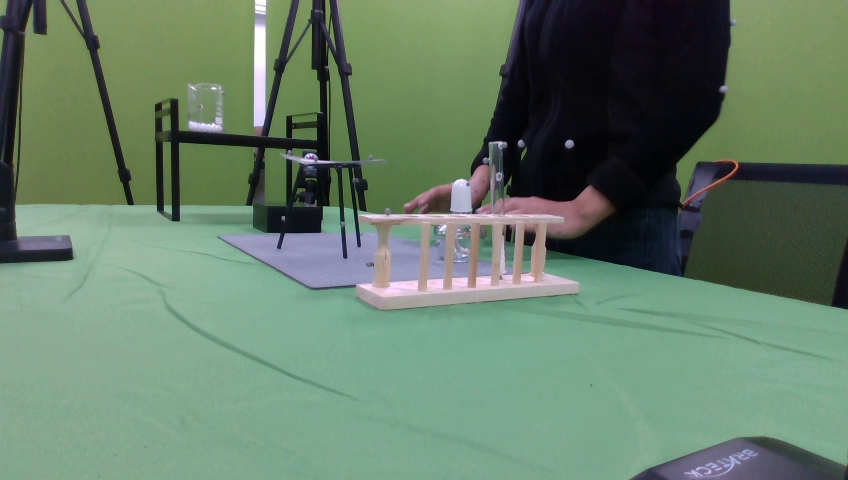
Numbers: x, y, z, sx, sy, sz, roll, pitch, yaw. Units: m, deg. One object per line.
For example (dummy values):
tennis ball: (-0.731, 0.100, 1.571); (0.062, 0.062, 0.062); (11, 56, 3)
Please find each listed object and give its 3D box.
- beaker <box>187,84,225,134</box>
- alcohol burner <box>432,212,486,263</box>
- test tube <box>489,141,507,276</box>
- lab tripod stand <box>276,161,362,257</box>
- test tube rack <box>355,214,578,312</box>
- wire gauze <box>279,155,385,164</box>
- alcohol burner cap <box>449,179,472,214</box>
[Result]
beaker: (-0.459, -0.274, 1.271); (0.074, 0.100, 0.084); (3, 8, 7)
alcohol burner: (0.051, -0.027, 0.863); (0.078, 0.119, 0.078); (1, 6, 0)
test tube: (0.082, -0.034, 0.670); (0.017, 0.150, 0.017); (-3, 7, 1)
lab tripod stand: (-0.143, -0.049, 0.884); (0.148, 0.131, 0.148); (2, 9, 0)
test tube rack: (0.053, 0.018, 0.640); (0.243, 0.085, 0.066); (-1, 8, -29)
wire gauze: (-0.134, -0.114, 0.875); (0.122, 0.011, 0.124); (-2, 9, -30)
alcohol burner cap: (0.052, -0.063, 0.858); (0.034, 0.048, 0.034); (2, 14, 0)
